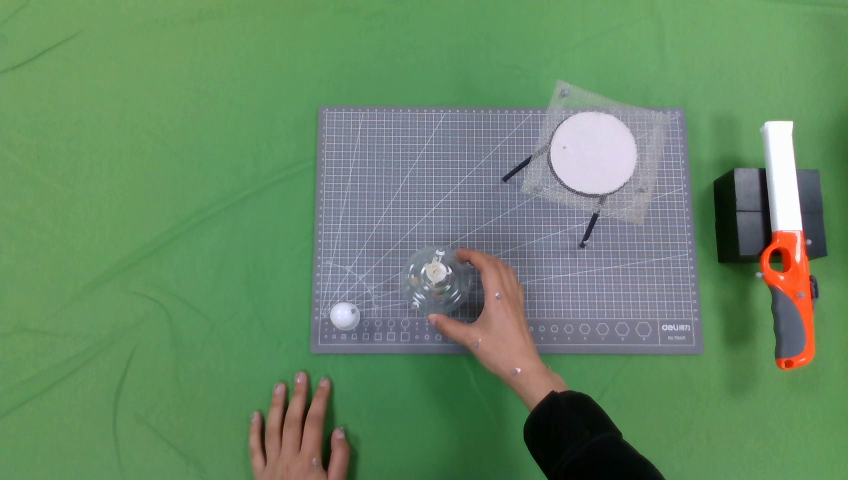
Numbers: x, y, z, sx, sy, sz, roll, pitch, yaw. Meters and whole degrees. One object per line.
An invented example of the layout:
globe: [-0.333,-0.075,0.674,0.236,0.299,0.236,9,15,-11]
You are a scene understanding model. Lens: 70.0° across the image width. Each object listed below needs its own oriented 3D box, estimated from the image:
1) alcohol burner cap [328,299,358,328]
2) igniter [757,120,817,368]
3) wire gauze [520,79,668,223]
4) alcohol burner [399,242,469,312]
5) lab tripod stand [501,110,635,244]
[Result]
alcohol burner cap: [-0.092,0.080,0.675,0.034,0.048,0.033,0,80,-2]
igniter: [0.394,0.001,0.665,0.057,0.025,0.275,1,79,5]
wire gauze: [0.170,-0.088,0.597,0.121,0.011,0.124,19,79,2]
alcohol burner: [0.011,0.038,0.649,0.078,0.119,0.077,0,81,0]
lab tripod stand: [0.166,-0.078,0.663,0.148,0.132,0.147,0,78,-1]
